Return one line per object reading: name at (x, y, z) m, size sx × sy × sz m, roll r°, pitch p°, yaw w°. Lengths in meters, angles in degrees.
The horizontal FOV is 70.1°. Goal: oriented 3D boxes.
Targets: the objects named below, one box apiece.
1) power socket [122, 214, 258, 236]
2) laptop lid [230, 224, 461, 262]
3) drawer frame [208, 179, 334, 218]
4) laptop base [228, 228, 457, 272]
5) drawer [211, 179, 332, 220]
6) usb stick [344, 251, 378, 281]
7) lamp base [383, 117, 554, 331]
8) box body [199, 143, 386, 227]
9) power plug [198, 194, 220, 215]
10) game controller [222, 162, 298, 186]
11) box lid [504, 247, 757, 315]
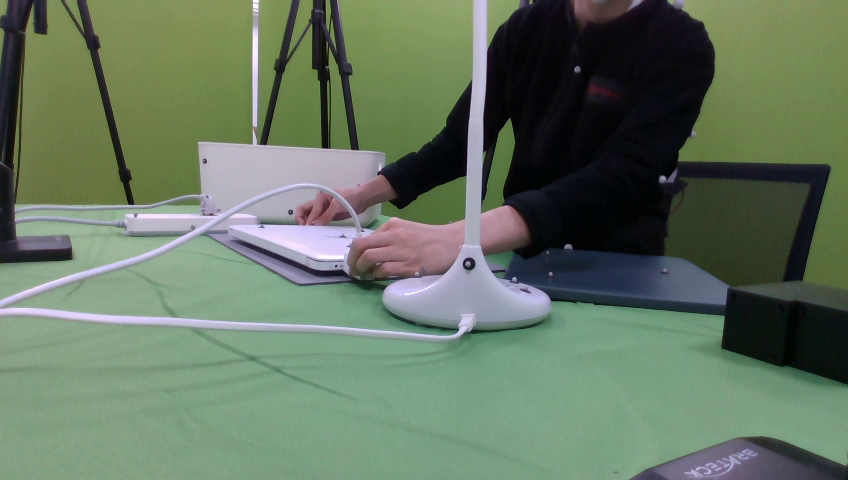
power socket at (-0.398, -0.028, 1.049) m, size 0.228 × 0.032 × 0.072 m, roll -3°, pitch 8°, yaw -34°
laptop lid at (-0.120, 0.000, 0.888) m, size 0.243 × 0.013 × 0.355 m, roll 1°, pitch 7°, yaw -33°
drawer frame at (-0.327, -0.093, 1.328) m, size 0.213 × 0.082 × 0.202 m, roll 0°, pitch 5°, yaw 6°
laptop base at (-0.123, 0.012, 0.889) m, size 0.237 × 0.023 × 0.352 m, roll 2°, pitch 6°, yaw -35°
drawer at (-0.328, -0.095, 1.332) m, size 0.212 × 0.073 × 0.194 m, roll 5°, pitch 8°, yaw 6°
usb stick at (-0.075, 0.028, 0.687) m, size 0.021 × 0.027 × 0.059 m, roll -4°, pitch 9°, yaw -32°
lamp base at (0.045, -0.019, 0.547) m, size 0.161 × 0.180 × 0.179 m, roll 2°, pitch 10°, yaw -4°
box body at (-0.276, -0.124, 1.334) m, size 0.364 × 0.160 × 0.254 m, roll 3°, pitch 7°, yaw 1°
power plug at (-0.387, -0.055, 1.089) m, size 0.035 × 0.052 × 0.072 m, roll -1°, pitch 7°, yaw -22°
game controller at (-0.357, -0.143, 1.321) m, size 0.156 × 0.051 × 0.097 m, roll 1°, pitch 2°, yaw -17°
box lid at (0.244, 0.044, 0.793) m, size 0.263 × 0.015 × 0.372 m, roll 4°, pitch 6°, yaw 10°
